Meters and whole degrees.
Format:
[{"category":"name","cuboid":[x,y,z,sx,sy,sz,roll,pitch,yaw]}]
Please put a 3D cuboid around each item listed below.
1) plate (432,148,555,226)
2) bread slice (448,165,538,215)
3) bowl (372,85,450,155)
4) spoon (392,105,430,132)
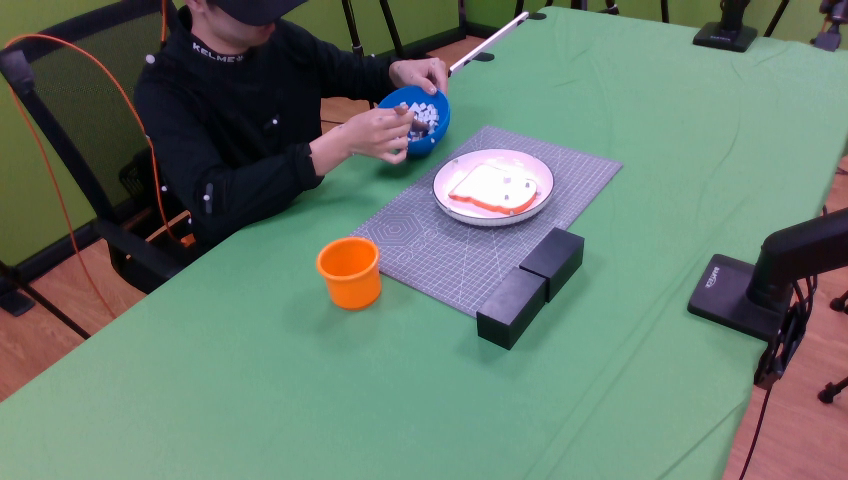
[{"category":"plate","cuboid":[0.119,-0.087,1.037,0.209,0.038,0.208,-4,40,4]},{"category":"bread slice","cuboid":[0.126,-0.085,1.038,0.133,0.018,0.107,16,45,27]},{"category":"bowl","cuboid":[-0.017,-0.216,1.159,0.151,0.077,0.150,-7,56,10]},{"category":"spoon","cuboid":[-0.027,-0.216,1.071,0.041,0.021,0.194,-14,-6,14]}]
